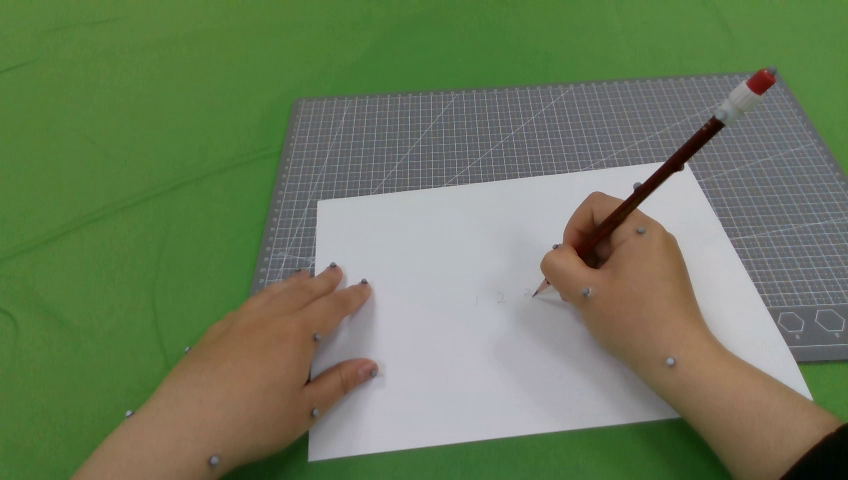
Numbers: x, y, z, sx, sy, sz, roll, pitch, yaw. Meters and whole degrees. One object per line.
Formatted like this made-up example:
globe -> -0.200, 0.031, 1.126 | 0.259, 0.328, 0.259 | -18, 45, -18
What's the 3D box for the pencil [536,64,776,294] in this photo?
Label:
pencil -> 0.116, -0.021, 0.342 | 0.012, 0.195, 0.012 | 16, 48, -19
